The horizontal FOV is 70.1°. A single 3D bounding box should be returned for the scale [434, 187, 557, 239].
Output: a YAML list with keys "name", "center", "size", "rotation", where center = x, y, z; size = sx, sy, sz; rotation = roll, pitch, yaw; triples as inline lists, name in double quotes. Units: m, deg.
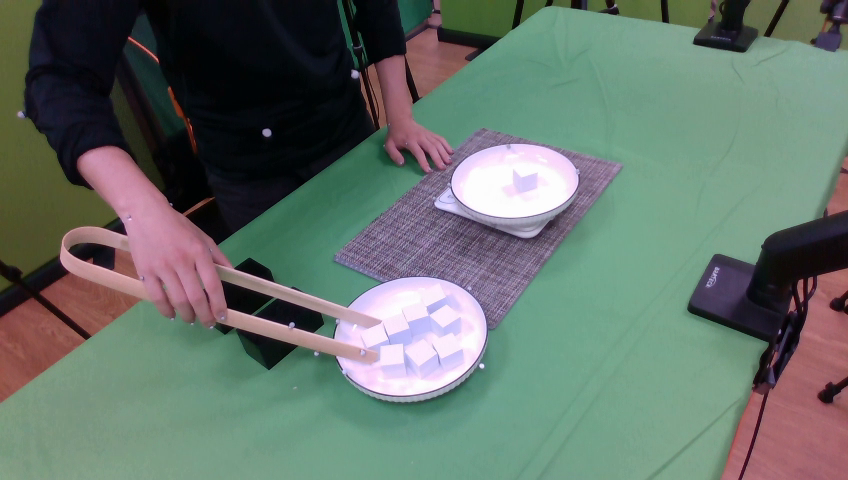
- name: "scale"
  center: [0.132, -0.075, 1.025]
  size: [0.199, 0.032, 0.149]
  rotation: [22, 48, 30]

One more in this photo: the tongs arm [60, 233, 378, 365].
- name: "tongs arm"
  center: [-0.237, 0.077, 0.732]
  size: [0.387, 0.026, 0.050]
  rotation: [19, 39, -18]

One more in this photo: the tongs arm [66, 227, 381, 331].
- name: "tongs arm"
  center: [-0.236, 0.055, 0.759]
  size: [0.390, 0.027, 0.028]
  rotation: [20, 43, -18]

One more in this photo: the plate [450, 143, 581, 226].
- name: "plate"
  center: [0.148, -0.087, 0.986]
  size: [0.209, 0.038, 0.208]
  rotation: [-4, 41, 4]

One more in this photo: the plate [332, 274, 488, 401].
- name: "plate"
  center: [-0.017, 0.130, 0.808]
  size: [0.207, 0.039, 0.206]
  rotation: [-4, 41, 4]
